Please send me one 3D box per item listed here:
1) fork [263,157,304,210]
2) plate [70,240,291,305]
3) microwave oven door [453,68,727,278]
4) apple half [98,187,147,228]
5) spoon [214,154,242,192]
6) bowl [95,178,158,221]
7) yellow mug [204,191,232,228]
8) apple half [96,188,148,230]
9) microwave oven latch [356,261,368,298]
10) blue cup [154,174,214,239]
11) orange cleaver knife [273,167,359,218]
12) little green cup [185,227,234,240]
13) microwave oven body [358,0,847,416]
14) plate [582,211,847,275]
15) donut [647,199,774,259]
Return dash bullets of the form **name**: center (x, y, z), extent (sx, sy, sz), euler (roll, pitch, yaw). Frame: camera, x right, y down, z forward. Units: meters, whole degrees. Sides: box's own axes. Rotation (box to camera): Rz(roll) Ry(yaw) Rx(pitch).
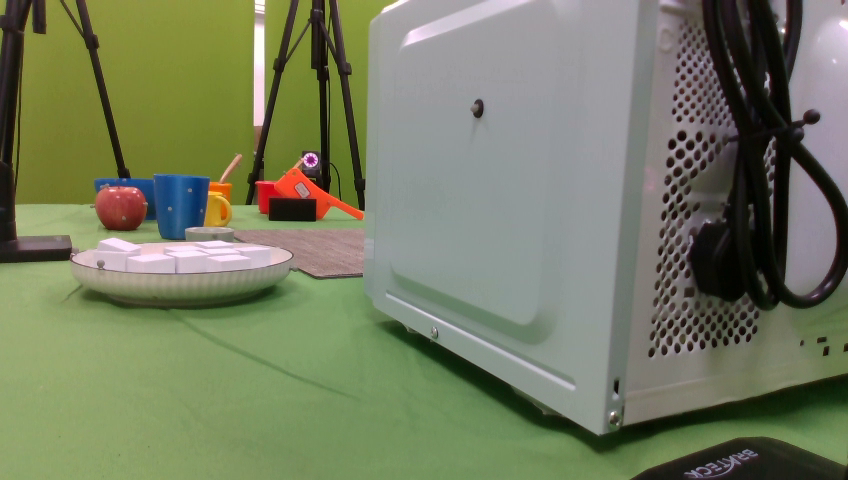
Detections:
- **fork**: center (-0.345, -0.143, 1.506), extent (0.028, 0.019, 0.207), euler (-4, 46, 29)
- **plate**: center (-0.242, 0.031, 0.619), extent (0.208, 0.039, 0.207), euler (3, 8, 0)
- **microwave oven door**: center (0.196, -0.095, 0.802), extent (0.354, 0.243, 0.039), euler (8, 10, 36)
- **apple half**: center (-0.534, -0.059, 1.071), extent (0.082, 0.081, 0.032), euler (-1, 11, -25)
- **spoon**: center (-0.439, -0.124, 1.318), extent (0.041, 0.193, 0.022), euler (6, -36, 16)
- **bowl**: center (-0.576, -0.081, 1.217), extent (0.151, 0.077, 0.151), euler (3, 8, 0)
- **yellow mug**: center (-0.415, -0.057, 1.131), extent (0.130, 0.064, 0.100), euler (6, 7, 16)
- **apple half**: center (-0.517, -0.052, 1.036), extent (0.081, 0.074, 0.053), euler (2, 10, -26)
- **microwave oven latch**: center (-0.020, 0.033, 0.529), extent (0.079, 0.029, 0.030), euler (0, 7, -25)
- **blue cup**: center (-0.391, -0.053, 0.978), extent (0.093, 0.100, 0.092), euler (3, 6, 0)
- **orange cleaver knife**: center (-0.238, -0.091, 1.381), extent (0.212, 0.077, 0.012), euler (31, 0, -19)
- **little green cup**: center (-0.285, 0.005, 0.805), extent (0.061, 0.038, 0.061), euler (2, 8, 0)
- **microwave oven body**: center (0.210, -0.047, 0.475), extent (0.444, 0.260, 0.324), euler (-1, 7, -28)
- **plate**: center (0.239, -0.001, 0.510), extent (0.209, 0.038, 0.209), euler (3, 5, 0)
- **donut**: center (0.242, -0.010, 0.516), extent (0.099, 0.048, 0.099), euler (1, 10, 0)
